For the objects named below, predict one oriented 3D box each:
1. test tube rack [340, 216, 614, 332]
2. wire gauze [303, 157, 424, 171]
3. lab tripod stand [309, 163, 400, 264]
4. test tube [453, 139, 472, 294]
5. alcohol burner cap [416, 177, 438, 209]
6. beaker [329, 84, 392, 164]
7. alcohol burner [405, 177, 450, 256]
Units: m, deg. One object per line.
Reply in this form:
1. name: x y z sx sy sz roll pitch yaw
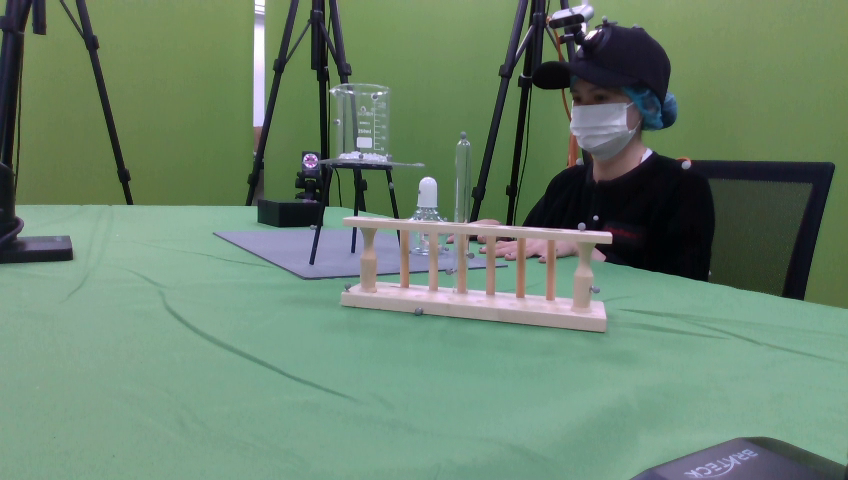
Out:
1. test tube rack: 0.048 0.026 0.568 0.242 0.085 0.067 4 8 13
2. wire gauze: -0.082 -0.101 0.799 0.126 0.011 0.121 1 7 -30
3. lab tripod stand: -0.091 -0.037 0.813 0.148 0.131 0.148 1 6 0
4. test tube: 0.037 -0.021 0.584 0.017 0.150 0.017 1 7 0
5. alcohol burner cap: 0.005 -0.072 0.914 0.034 0.048 0.034 3 9 0
6. beaker: -0.084 -0.149 0.794 0.084 0.100 0.073 -1 6 -23
7. alcohol burner: 0.004 -0.036 0.917 0.078 0.119 0.078 3 5 0
